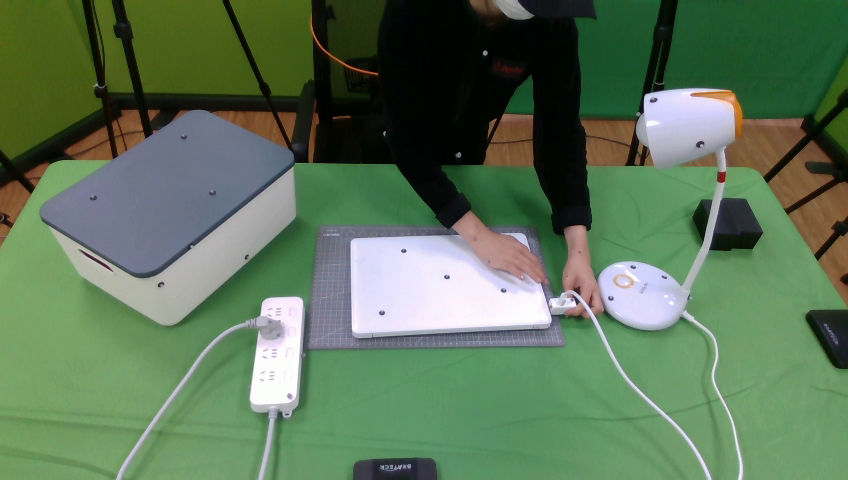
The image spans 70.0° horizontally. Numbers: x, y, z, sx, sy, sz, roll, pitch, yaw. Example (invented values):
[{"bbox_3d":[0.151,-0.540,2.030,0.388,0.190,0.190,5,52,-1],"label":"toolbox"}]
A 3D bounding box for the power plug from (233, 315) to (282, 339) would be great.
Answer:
[{"bbox_3d":[-0.271,0.144,1.000,0.072,0.053,0.035,6,46,3],"label":"power plug"}]

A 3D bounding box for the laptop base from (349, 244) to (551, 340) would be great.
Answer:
[{"bbox_3d":[0.040,0.081,1.126,0.355,0.023,0.234,-2,43,-6],"label":"laptop base"}]

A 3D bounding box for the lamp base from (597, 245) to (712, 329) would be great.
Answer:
[{"bbox_3d":[0.418,0.051,1.071,0.179,0.181,0.160,22,49,13],"label":"lamp base"}]

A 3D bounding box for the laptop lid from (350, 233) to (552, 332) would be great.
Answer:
[{"bbox_3d":[0.041,0.071,1.119,0.357,0.013,0.240,-1,44,-5],"label":"laptop lid"}]

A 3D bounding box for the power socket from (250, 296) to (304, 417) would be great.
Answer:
[{"bbox_3d":[-0.239,0.182,0.996,0.072,0.033,0.225,-2,47,-5],"label":"power socket"}]

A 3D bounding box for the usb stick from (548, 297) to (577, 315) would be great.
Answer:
[{"bbox_3d":[0.242,0.119,1.088,0.059,0.027,0.021,-5,51,-3],"label":"usb stick"}]

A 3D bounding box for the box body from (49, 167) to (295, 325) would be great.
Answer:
[{"bbox_3d":[-0.437,-0.046,1.110,0.253,0.161,0.363,24,49,19],"label":"box body"}]

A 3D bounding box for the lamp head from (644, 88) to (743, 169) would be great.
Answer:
[{"bbox_3d":[0.380,-0.160,0.851,0.122,0.113,0.112,-4,42,25],"label":"lamp head"}]

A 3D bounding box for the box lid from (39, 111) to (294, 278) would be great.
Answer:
[{"bbox_3d":[-0.434,-0.097,1.055,0.262,0.015,0.370,25,49,18],"label":"box lid"}]
